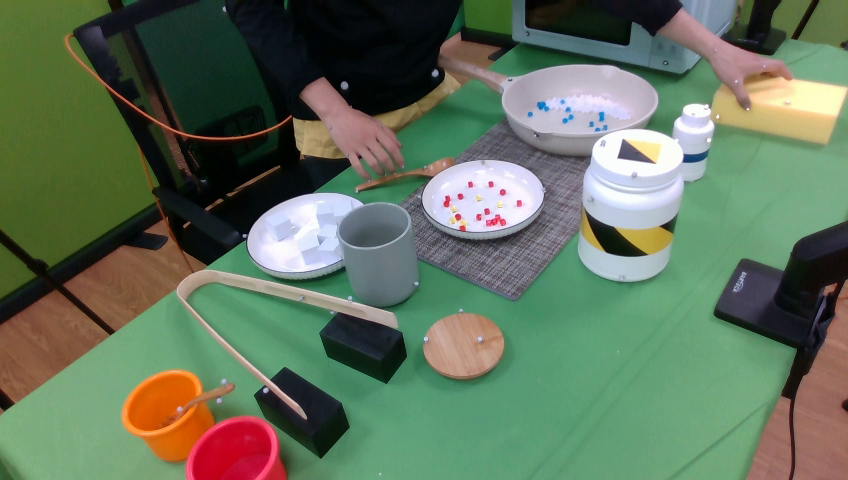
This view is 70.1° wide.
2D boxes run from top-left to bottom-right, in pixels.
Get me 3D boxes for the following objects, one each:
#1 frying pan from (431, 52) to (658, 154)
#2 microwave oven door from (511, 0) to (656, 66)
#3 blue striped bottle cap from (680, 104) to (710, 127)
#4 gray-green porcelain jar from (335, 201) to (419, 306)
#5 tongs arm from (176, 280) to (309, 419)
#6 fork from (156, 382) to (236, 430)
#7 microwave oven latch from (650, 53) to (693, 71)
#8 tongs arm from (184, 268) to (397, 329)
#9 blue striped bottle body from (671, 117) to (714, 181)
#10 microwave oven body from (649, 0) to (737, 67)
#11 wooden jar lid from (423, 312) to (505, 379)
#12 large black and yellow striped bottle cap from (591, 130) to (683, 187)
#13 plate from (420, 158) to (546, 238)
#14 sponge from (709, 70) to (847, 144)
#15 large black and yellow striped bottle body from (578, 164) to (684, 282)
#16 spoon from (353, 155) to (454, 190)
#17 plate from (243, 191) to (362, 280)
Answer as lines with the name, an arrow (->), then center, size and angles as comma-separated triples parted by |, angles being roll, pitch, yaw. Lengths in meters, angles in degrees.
frying pan -> 0.216, -0.302, 1.223 | 0.484, 0.103, 0.308 | 29, 49, 24
microwave oven door -> 0.351, -0.539, 1.349 | 0.353, 0.245, 0.039 | 24, 50, 31
blue striped bottle cap -> 0.443, -0.205, 0.989 | 0.044, 0.021, 0.044 | -1, 41, 2
gray-green porcelain jar -> -0.064, 0.024, 0.872 | 0.106, 0.127, 0.105 | -4, 41, 4
tongs arm -> -0.254, 0.133, 0.801 | 0.028, 0.028, 0.384 | -41, 41, -23
fork -> -0.262, 0.189, 0.690 | 0.018, 0.206, 0.028 | 49, 43, -7
microwave oven latch -> 0.531, -0.386, 1.301 | 0.078, 0.029, 0.030 | 26, 51, 33
tongs arm -> -0.202, 0.084, 0.848 | 0.382, 0.027, 0.051 | 11, 45, 35
blue striped bottle body -> 0.449, -0.165, 1.022 | 0.063, 0.121, 0.063 | -5, 41, 5
microwave oven body -> 0.475, -0.602, 1.411 | 0.438, 0.261, 0.327 | 23, 50, 32
wooden jar lid -> 0.053, 0.142, 0.800 | 0.108, 0.021, 0.108 | -5, 39, 4
large black and yellow striped bottle cap -> 0.282, -0.111, 0.803 | 0.115, 0.019, 0.114 | -3, 41, 3
plate -> 0.099, -0.067, 1.017 | 0.209, 0.038, 0.208 | -4, 40, 4
sponge -> 0.665, -0.256, 1.142 | 0.205, 0.061, 0.118 | 19, 47, 28
large black and yellow striped bottle body -> 0.292, -0.046, 0.859 | 0.131, 0.185, 0.130 | -4, 41, 4
spoon -> -0.038, -0.123, 1.116 | 0.194, 0.022, 0.041 | -12, 58, -3
plate -> -0.187, -0.005, 0.992 | 0.207, 0.039, 0.206 | -4, 41, 4
